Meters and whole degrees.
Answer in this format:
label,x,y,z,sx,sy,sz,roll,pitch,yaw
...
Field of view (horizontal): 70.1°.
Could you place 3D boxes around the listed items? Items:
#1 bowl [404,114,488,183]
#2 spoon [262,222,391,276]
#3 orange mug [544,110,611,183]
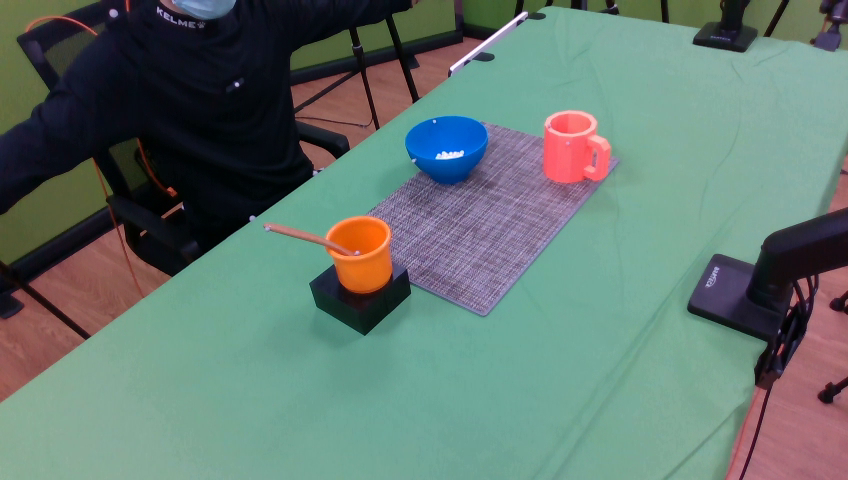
label,x,y,z,sx,sy,sz,roll,pitch,yaw
bowl,0.043,-0.156,1.095,0.151,0.077,0.150,-4,41,4
spoon,-0.124,0.010,0.800,0.021,0.195,0.041,-45,40,24
orange mug,0.266,-0.157,1.049,0.084,0.101,0.125,-33,42,-26
